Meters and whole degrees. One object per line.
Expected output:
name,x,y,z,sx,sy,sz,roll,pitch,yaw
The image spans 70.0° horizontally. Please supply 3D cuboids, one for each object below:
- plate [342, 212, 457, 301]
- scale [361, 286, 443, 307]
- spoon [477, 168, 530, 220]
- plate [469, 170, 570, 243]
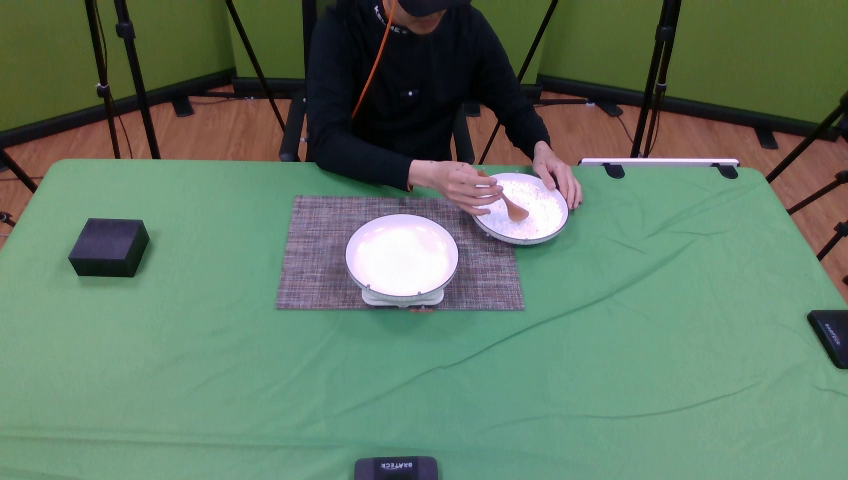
plate,-0.044,0.033,1.105,0.208,0.039,0.206,2,46,-2
scale,-0.042,0.040,1.142,0.149,0.032,0.199,0,46,-4
spoon,0.151,-0.087,1.168,0.041,0.195,0.021,-23,49,26
plate,0.196,-0.066,1.258,0.209,0.038,0.208,2,46,-2
